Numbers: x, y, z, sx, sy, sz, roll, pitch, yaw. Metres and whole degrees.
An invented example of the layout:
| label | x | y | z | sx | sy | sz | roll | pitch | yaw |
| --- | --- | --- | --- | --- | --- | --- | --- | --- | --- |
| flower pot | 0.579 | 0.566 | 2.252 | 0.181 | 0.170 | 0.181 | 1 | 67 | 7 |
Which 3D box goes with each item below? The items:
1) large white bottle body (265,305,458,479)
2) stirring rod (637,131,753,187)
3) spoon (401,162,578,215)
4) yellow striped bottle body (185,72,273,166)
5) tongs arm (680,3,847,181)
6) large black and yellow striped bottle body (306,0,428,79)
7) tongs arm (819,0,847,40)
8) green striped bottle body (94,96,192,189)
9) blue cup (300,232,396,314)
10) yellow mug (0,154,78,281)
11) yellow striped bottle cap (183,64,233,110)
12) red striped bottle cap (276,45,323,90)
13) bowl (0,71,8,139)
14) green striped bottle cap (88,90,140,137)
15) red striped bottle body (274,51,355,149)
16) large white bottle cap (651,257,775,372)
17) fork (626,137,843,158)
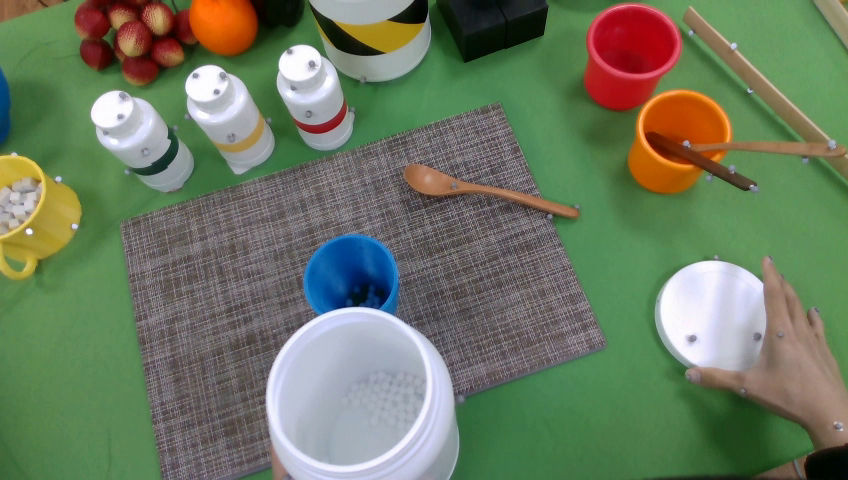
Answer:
| label | x | y | z | sx | sy | sz | roll | pitch | yaw |
| --- | --- | --- | --- | --- | --- | --- | --- | --- | --- |
| large white bottle body | -0.042 | 0.135 | 0.465 | 0.130 | 0.186 | 0.129 | -2 | 60 | 4 |
| stirring rod | 0.258 | -0.083 | 0.592 | 0.014 | 0.006 | 0.174 | -16 | 27 | -5 |
| spoon | 0.070 | -0.052 | 0.650 | 0.193 | 0.022 | 0.041 | 12 | 46 | 7 |
| yellow striped bottle body | -0.210 | -0.134 | 0.649 | 0.063 | 0.121 | 0.062 | -2 | 70 | 5 |
| tongs arm | 0.423 | -0.130 | 0.652 | 0.051 | 0.027 | 0.382 | -31 | 72 | -10 |
| large black and yellow striped bottle body | -0.066 | -0.279 | 0.659 | 0.131 | 0.185 | 0.130 | -1 | 70 | 4 |
| tongs arm | 0.502 | -0.167 | 0.661 | 0.028 | 0.028 | 0.384 | -15 | 71 | -8 |
| green striped bottle body | -0.301 | -0.107 | 0.645 | 0.063 | 0.120 | 0.063 | -1 | 69 | 3 |
| blue cup | -0.065 | 0.050 | 0.579 | 0.092 | 0.101 | 0.092 | -1 | 69 | 2 |
| yellow mug | -0.440 | -0.020 | 0.651 | 0.100 | 0.064 | 0.130 | -9 | 70 | -1 |
| yellow striped bottle cap | -0.214 | -0.152 | 0.601 | 0.044 | 0.019 | 0.044 | -1 | 71 | 2 |
| red striped bottle cap | -0.124 | -0.172 | 0.602 | 0.044 | 0.018 | 0.044 | 0 | 67 | 0 |
| bowl | -0.544 | -0.151 | 0.699 | 0.151 | 0.077 | 0.150 | -1 | 70 | 3 |
| green striped bottle cap | -0.305 | -0.125 | 0.596 | 0.044 | 0.020 | 0.044 | -1 | 69 | 3 |
| red striped bottle body | -0.118 | -0.153 | 0.651 | 0.063 | 0.120 | 0.062 | -3 | 69 | 8 |
| large white bottle cap | 0.284 | 0.072 | 0.598 | 0.115 | 0.018 | 0.114 | -1 | 69 | 3 |
| fork | 0.287 | -0.090 | 0.585 | 0.028 | 0.206 | 0.019 | -40 | 117 | -24 |
